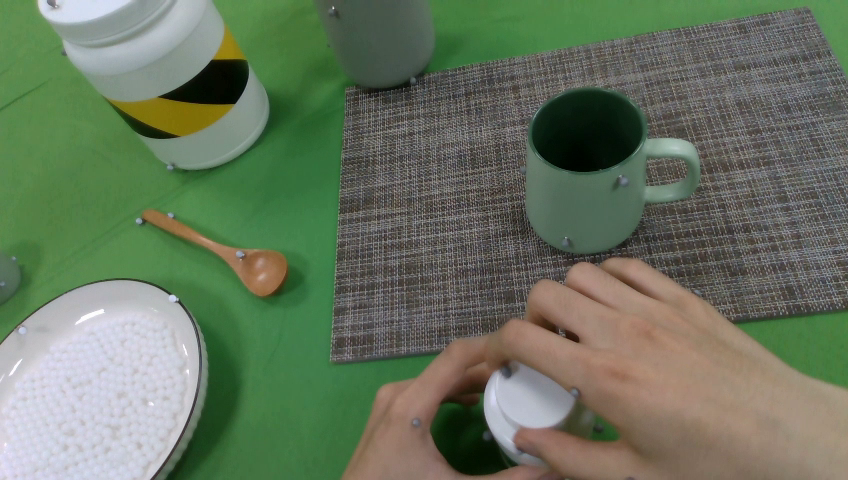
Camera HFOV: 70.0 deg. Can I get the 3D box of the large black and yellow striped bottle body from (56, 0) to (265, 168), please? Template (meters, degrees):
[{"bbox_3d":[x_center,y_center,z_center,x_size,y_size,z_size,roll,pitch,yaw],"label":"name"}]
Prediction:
[{"bbox_3d":[-0.245,-0.168,0.563,0.130,0.186,0.129,-5,59,10],"label":"large black and yellow striped bottle body"}]

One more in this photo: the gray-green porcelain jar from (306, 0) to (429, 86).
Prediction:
[{"bbox_3d":[-0.054,-0.223,0.584,0.106,0.128,0.105,-6,55,9],"label":"gray-green porcelain jar"}]

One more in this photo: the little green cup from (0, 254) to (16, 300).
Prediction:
[{"bbox_3d":[-0.423,0.034,0.571,0.061,0.039,0.061,-5,59,9],"label":"little green cup"}]

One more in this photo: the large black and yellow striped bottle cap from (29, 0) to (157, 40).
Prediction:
[{"bbox_3d":[-0.263,-0.209,0.492,0.115,0.019,0.114,-5,58,9],"label":"large black and yellow striped bottle cap"}]

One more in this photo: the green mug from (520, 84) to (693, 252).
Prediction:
[{"bbox_3d":[0.133,-0.051,0.452,0.125,0.106,0.092,0,60,13],"label":"green mug"}]

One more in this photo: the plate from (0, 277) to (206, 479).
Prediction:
[{"bbox_3d":[-0.267,0.129,0.481,0.209,0.038,0.207,-5,59,9],"label":"plate"}]

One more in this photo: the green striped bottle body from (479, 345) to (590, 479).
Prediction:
[{"bbox_3d":[0.069,0.105,0.371,0.063,0.120,0.062,-6,60,11],"label":"green striped bottle body"}]

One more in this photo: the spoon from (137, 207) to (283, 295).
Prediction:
[{"bbox_3d":[-0.199,0.001,0.549,0.192,0.022,0.041,23,87,23],"label":"spoon"}]

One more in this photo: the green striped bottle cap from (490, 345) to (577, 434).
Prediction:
[{"bbox_3d":[0.058,0.079,0.321,0.044,0.020,0.044,-10,47,12],"label":"green striped bottle cap"}]
